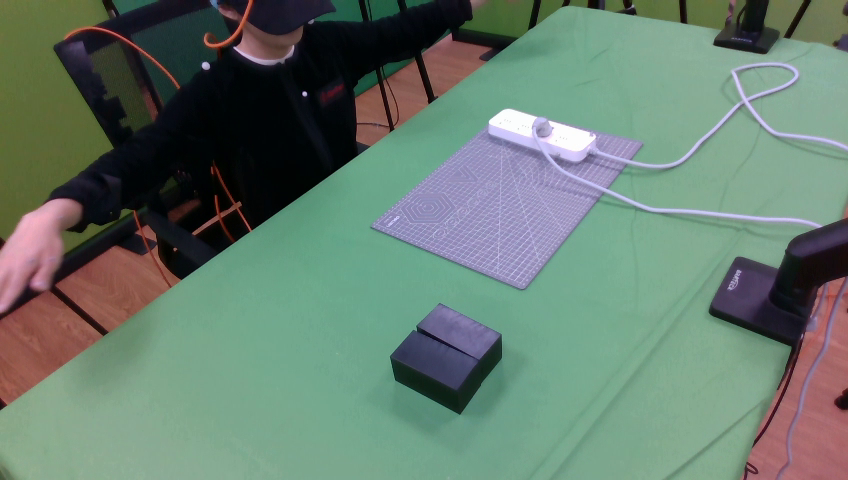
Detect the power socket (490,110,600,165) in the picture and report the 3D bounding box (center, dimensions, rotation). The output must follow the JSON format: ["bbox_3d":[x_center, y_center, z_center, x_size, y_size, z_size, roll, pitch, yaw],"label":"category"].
[{"bbox_3d":[0.226,-0.201,1.167,0.225,0.033,0.072,26,53,33],"label":"power socket"}]

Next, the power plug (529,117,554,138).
[{"bbox_3d":[0.212,-0.201,1.131,0.073,0.053,0.035,-29,44,-25],"label":"power plug"}]
